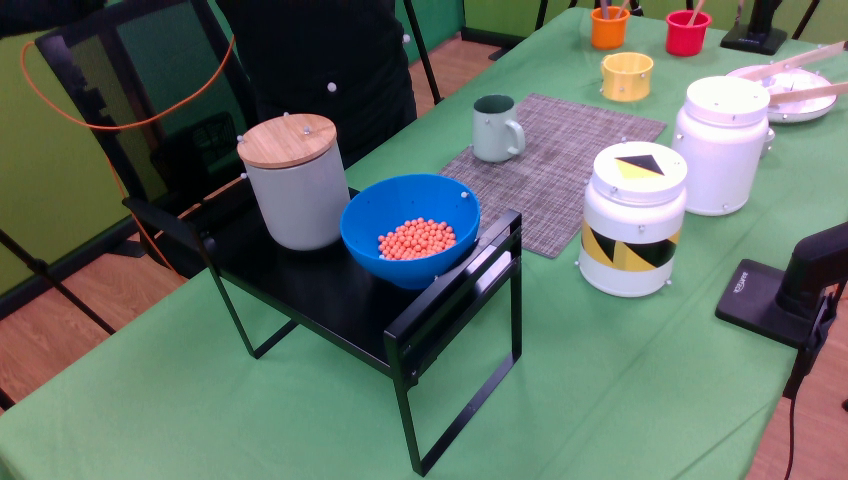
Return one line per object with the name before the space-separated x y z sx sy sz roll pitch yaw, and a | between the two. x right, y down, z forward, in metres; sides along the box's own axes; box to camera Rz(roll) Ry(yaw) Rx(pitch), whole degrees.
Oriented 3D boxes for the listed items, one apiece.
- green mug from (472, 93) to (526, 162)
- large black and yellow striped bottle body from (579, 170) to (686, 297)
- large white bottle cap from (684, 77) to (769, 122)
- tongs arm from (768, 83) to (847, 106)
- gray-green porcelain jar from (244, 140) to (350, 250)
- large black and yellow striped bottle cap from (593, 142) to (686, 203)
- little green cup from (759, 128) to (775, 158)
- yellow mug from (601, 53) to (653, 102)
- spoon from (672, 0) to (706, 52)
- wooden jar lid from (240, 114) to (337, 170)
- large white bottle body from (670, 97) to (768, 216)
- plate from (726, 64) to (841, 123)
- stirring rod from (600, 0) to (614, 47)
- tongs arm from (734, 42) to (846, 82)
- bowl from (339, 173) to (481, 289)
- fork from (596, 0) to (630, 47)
green mug | 0.144 -0.202 1.122 0.093 0.105 0.124 -29 45 -23
large black and yellow striped bottle body | 0.287 -0.027 0.842 0.131 0.185 0.130 -4 41 4
large white bottle cap | 0.448 -0.209 0.898 0.115 0.018 0.114 -4 40 4
tongs arm | 0.734 -0.280 1.133 0.388 0.028 0.028 -9 47 -5
gray-green porcelain jar | -0.144 -0.060 0.714 0.106 0.127 0.105 -4 41 4
large black and yellow striped bottle cap | 0.280 -0.090 0.786 0.115 0.019 0.114 -5 41 5
little green cup | 0.588 -0.175 1.080 0.061 0.039 0.061 -5 40 5
yellow mug | 0.423 -0.354 1.293 0.100 0.064 0.129 -23 42 -16
spoon | 0.629 -0.520 1.394 0.041 0.022 0.193 29 97 34
wooden jar lid | -0.149 -0.106 0.673 0.108 0.021 0.108 -6 39 5
large white bottle body | 0.458 -0.146 0.952 0.130 0.185 0.130 -4 40 4
plate | 0.694 -0.282 1.189 0.207 0.039 0.206 -4 40 4
stirring rod | 0.439 -0.551 1.464 0.014 0.006 0.175 -7 83 4
tongs arm | 0.708 -0.331 1.193 0.386 0.026 0.050 -18 45 -15
bowl | -0.011 0.001 0.660 0.151 0.077 0.150 -5 41 5
fork | 0.481 -0.555 1.453 0.028 0.019 0.207 40 103 38
